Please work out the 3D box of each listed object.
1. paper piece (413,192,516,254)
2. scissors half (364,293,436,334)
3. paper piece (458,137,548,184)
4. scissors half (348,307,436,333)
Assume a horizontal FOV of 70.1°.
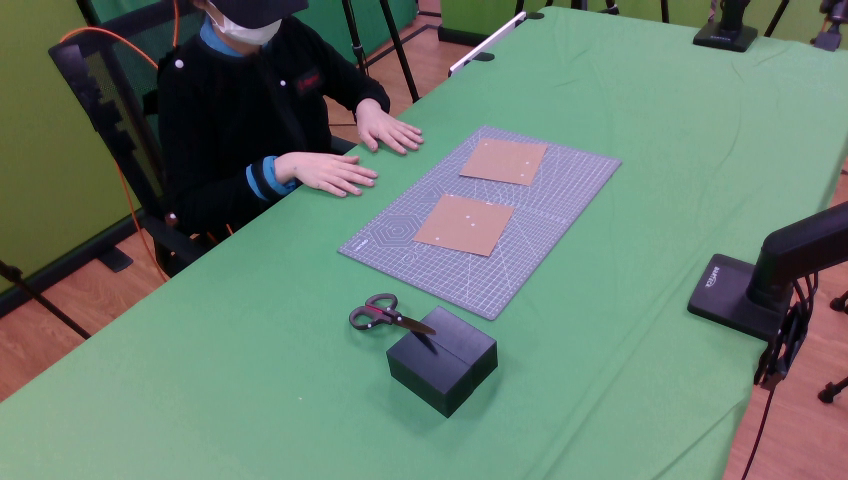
[{"bbox_3d":[0.068,-0.030,1.000,0.134,0.004,0.136,12,44,23],"label":"paper piece"},{"bbox_3d":[-0.032,0.100,0.815,0.040,0.013,0.173,-40,28,-19],"label":"scissors half"},{"bbox_3d":[0.150,-0.152,1.131,0.135,0.009,0.138,15,43,17],"label":"paper piece"},{"bbox_3d":[-0.046,0.111,0.805,0.174,0.013,0.040,0,33,45],"label":"scissors half"}]
